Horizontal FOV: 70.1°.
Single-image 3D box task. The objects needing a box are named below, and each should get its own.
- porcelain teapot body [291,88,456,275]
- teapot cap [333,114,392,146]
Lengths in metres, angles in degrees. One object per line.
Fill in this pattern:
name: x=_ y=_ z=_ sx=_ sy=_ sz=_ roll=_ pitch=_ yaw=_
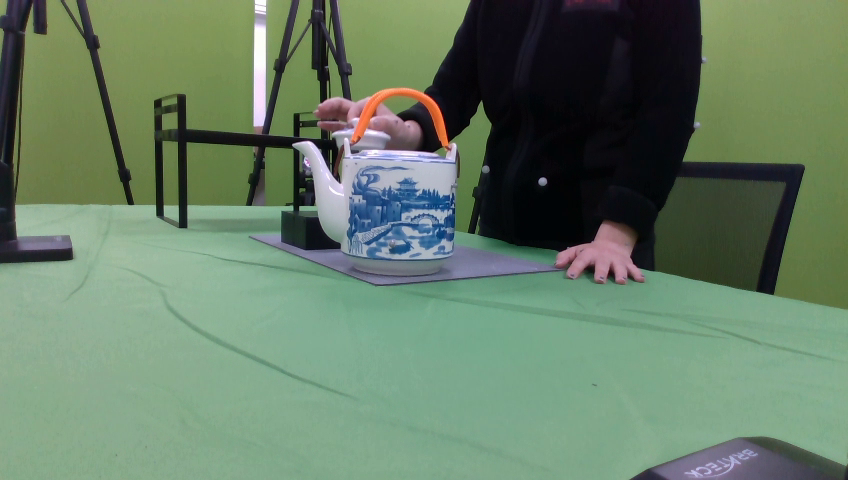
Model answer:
porcelain teapot body: x=-0.060 y=-0.075 z=0.753 sx=0.206 sy=0.225 sz=0.145 roll=0 pitch=7 yaw=-12
teapot cap: x=-0.086 y=-0.153 z=0.846 sx=0.085 sy=0.044 sz=0.085 roll=0 pitch=9 yaw=0
